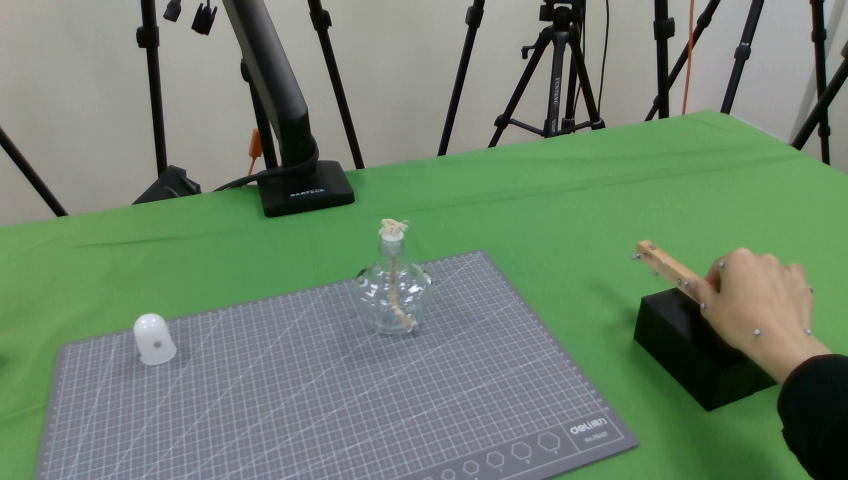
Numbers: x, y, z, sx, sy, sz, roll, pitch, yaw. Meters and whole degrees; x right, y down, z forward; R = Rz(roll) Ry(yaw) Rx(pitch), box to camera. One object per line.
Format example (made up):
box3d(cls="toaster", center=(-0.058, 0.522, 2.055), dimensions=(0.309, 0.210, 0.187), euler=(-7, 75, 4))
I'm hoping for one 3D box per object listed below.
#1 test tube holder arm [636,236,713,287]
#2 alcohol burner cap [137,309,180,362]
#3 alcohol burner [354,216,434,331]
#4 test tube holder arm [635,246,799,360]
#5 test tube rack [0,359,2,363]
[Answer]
box3d(cls="test tube holder arm", center=(0.237, 0.022, 0.576), dimensions=(0.015, 0.010, 0.087), euler=(-13, 36, -20))
box3d(cls="alcohol burner cap", center=(-0.249, 0.086, 0.563), dimensions=(0.034, 0.048, 0.033), euler=(-1, 34, 1))
box3d(cls="alcohol burner", center=(-0.029, 0.028, 0.580), dimensions=(0.078, 0.120, 0.077), euler=(1, 33, 0))
box3d(cls="test tube holder arm", center=(0.255, 0.049, 0.544), dimensions=(0.015, 0.013, 0.176), euler=(-13, 35, -20))
box3d(cls="test tube rack", center=(-0.493, 0.124, 0.478), dimensions=(0.066, 0.086, 0.242), euler=(21, 40, 29))
